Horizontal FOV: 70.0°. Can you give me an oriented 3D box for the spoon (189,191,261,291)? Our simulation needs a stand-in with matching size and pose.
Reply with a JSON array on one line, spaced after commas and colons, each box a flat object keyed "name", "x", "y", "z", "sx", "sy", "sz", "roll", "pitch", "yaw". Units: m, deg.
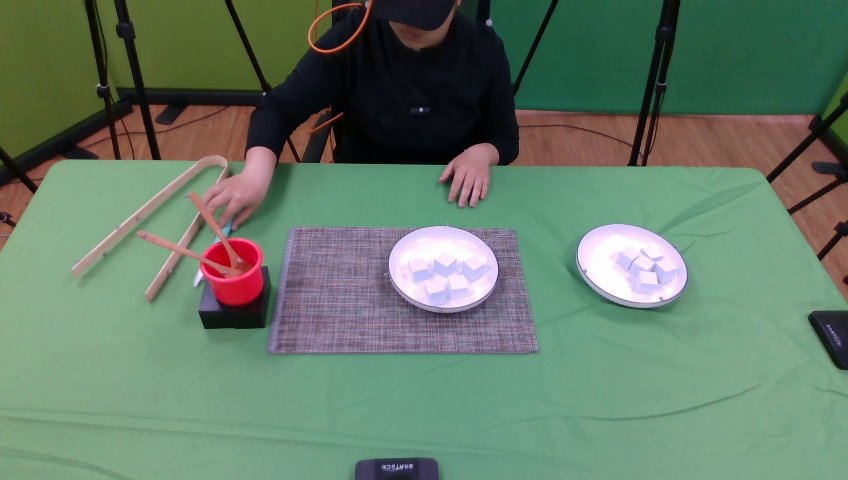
[{"name": "spoon", "x": -0.333, "y": 0.001, "z": 1.011, "sx": 0.041, "sy": 0.194, "sz": 0.021, "roll": -34, "pitch": 15, "yaw": -26}]

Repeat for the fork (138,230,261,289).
[{"name": "fork", "x": -0.360, "y": 0.032, "z": 0.981, "sx": 0.208, "sy": 0.018, "sz": 0.028, "roll": 31, "pitch": 60, "yaw": -30}]

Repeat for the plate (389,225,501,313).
[{"name": "plate", "x": 0.038, "y": 0.057, "z": 1.129, "sx": 0.208, "sy": 0.039, "sz": 0.206, "roll": 2, "pitch": 46, "yaw": -2}]

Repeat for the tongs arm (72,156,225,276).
[{"name": "tongs arm", "x": -0.531, "y": -0.058, "z": 1.205, "sx": 0.050, "sy": 0.026, "sz": 0.383, "roll": 19, "pitch": 47, "yaw": 13}]

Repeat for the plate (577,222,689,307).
[{"name": "plate", "x": 0.396, "y": 0.050, "z": 1.165, "sx": 0.209, "sy": 0.038, "sz": 0.208, "roll": 2, "pitch": 47, "yaw": -2}]

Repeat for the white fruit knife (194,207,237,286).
[{"name": "white fruit knife", "x": -0.399, "y": 0.010, "z": 1.165, "sx": 0.027, "sy": 0.016, "sz": 0.206, "roll": -13, "pitch": 43, "yaw": 23}]

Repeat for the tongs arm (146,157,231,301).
[{"name": "tongs arm", "x": -0.454, "y": -0.035, "z": 1.194, "sx": 0.028, "sy": 0.028, "sz": 0.385, "roll": 7, "pitch": 46, "yaw": 6}]
